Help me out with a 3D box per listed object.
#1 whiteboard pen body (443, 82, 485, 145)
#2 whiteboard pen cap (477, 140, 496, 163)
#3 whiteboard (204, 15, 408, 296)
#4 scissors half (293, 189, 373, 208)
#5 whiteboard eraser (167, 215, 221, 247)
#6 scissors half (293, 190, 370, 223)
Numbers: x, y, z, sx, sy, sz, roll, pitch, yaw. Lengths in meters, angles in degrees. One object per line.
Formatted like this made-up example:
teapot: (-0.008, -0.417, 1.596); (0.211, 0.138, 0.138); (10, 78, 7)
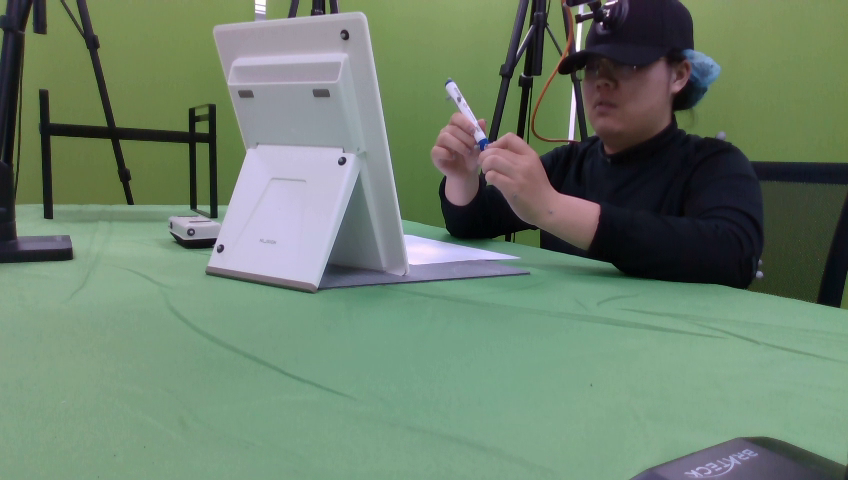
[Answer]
whiteboard pen body: (0.063, -0.177, 0.885); (0.017, 0.140, 0.017); (-23, -22, -9)
whiteboard pen cap: (0.088, -0.127, 0.862); (0.018, 0.033, 0.018); (-24, -16, -7)
whiteboard: (-0.166, -0.072, 0.669); (0.216, 0.305, 0.144); (8, 30, 30)
scissors half: (-0.201, -0.096, 1.333); (0.175, 0.040, 0.013); (5, 18, -4)
whiteboard eraser: (-0.350, -0.014, 0.920); (0.056, 0.042, 0.112); (0, 7, -35)
scissors half: (-0.205, -0.077, 1.338); (0.175, 0.040, 0.013); (22, 11, -8)
